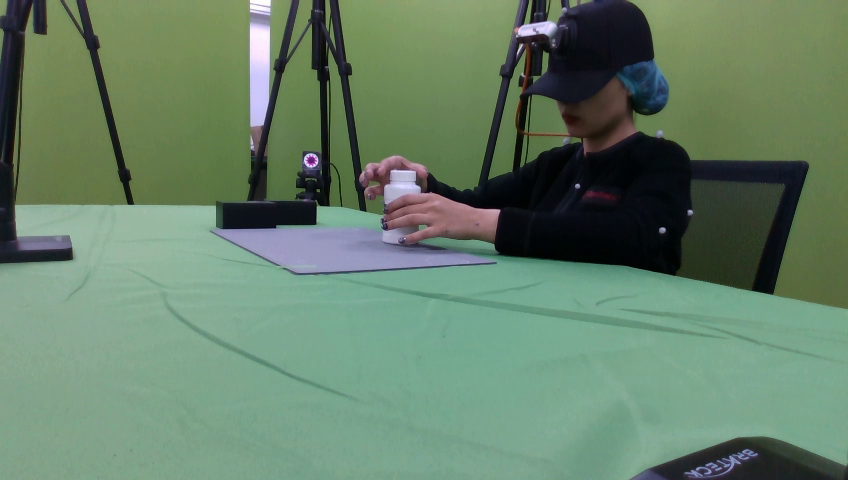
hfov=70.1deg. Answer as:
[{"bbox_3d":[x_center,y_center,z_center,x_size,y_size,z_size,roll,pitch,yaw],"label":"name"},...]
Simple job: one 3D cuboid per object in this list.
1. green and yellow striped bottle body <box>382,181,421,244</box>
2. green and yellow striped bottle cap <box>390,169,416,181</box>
[{"bbox_3d":[-0.038,-0.055,1.018,0.063,0.119,0.063,3,8,0],"label":"green and yellow striped bottle body"},{"bbox_3d":[-0.035,-0.108,1.012,0.045,0.020,0.045,2,6,0],"label":"green and yellow striped bottle cap"}]
